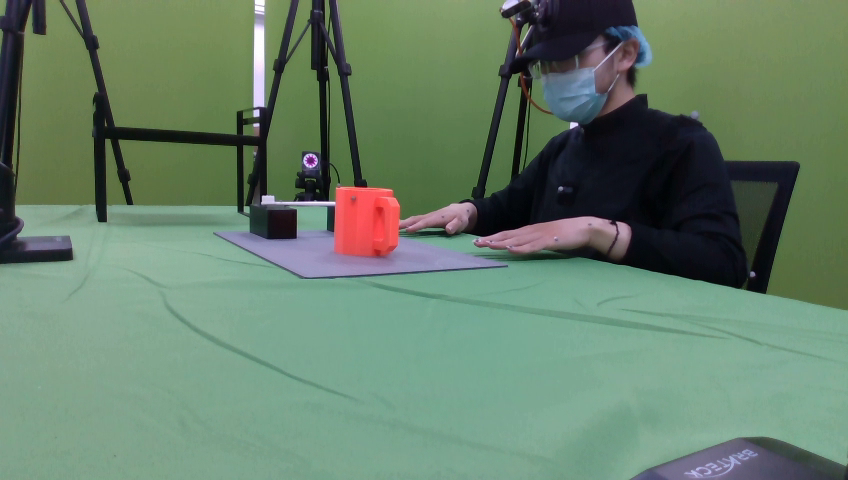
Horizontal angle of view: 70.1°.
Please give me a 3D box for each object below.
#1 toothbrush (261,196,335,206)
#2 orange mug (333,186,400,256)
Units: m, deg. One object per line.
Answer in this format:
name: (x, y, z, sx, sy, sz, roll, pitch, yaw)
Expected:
toothbrush: (-0.200, -0.068, 1.073, 0.183, 0.016, 0.014, -1, -7, -34)
orange mug: (-0.080, -0.029, 0.888, 0.084, 0.100, 0.125, -3, 5, -40)
